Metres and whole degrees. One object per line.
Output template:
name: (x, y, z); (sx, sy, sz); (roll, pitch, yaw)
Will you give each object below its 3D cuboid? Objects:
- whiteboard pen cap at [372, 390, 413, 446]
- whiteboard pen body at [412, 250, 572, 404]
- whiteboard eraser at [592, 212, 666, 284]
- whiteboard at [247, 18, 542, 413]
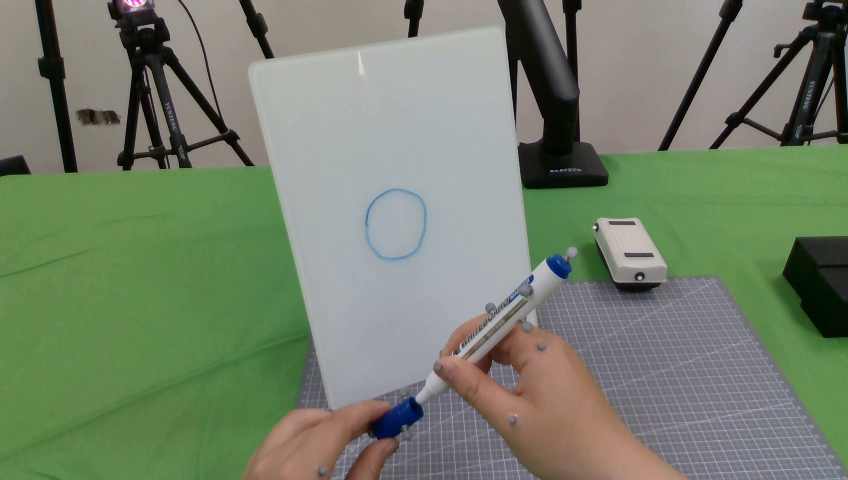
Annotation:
whiteboard pen cap: (-0.020, 0.113, 0.383); (0.018, 0.018, 0.033); (15, 72, 23)
whiteboard pen body: (0.034, 0.056, 0.355); (0.017, 0.141, 0.017); (31, 28, -19)
whiteboard eraser: (0.231, 0.009, 0.692); (0.055, 0.042, 0.111); (-3, 32, 2)
whiteboard: (-0.030, -0.032, 0.583); (0.218, 0.307, 0.142); (-15, 18, -17)
